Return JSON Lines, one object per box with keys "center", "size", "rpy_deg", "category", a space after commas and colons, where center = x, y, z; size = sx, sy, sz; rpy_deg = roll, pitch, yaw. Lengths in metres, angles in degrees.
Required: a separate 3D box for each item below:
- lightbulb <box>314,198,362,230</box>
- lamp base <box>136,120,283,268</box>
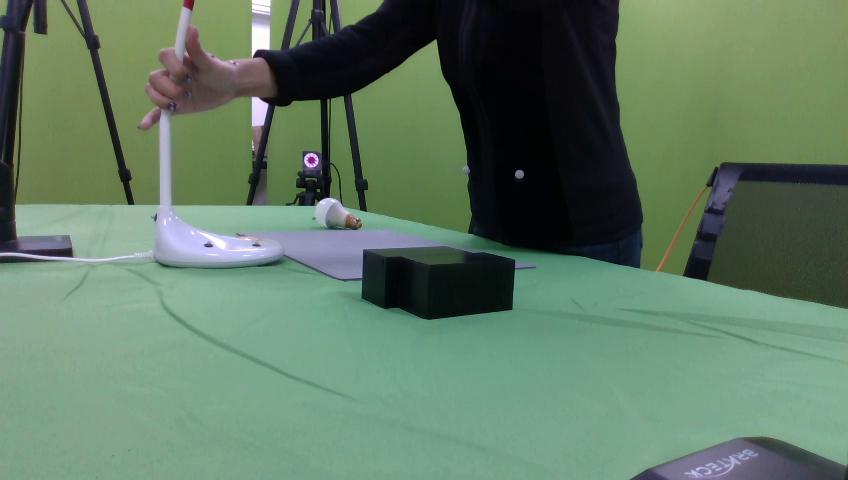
{"center": [-0.172, -0.047, 1.219], "size": [0.107, 0.059, 0.060], "rpy_deg": [22, 15, 22], "category": "lightbulb"}
{"center": [-0.274, -0.061, 0.768], "size": [0.180, 0.180, 0.160], "rpy_deg": [-8, 12, -37], "category": "lamp base"}
